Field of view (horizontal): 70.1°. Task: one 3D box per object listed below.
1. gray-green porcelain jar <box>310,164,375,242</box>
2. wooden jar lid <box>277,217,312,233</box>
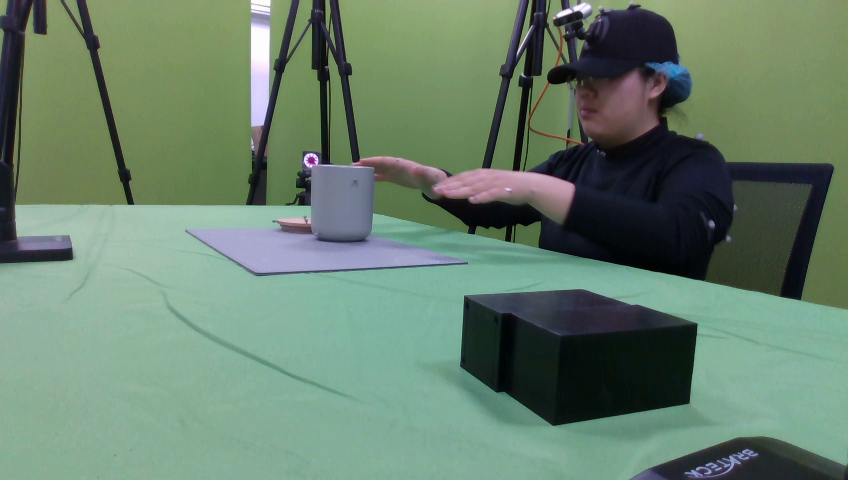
[{"bbox_3d":[-0.139,-0.064,1.025,0.106,0.126,0.106,3,8,0],"label":"gray-green porcelain jar"},{"bbox_3d":[-0.221,-0.028,1.138,0.108,0.020,0.108,2,8,0],"label":"wooden jar lid"}]
